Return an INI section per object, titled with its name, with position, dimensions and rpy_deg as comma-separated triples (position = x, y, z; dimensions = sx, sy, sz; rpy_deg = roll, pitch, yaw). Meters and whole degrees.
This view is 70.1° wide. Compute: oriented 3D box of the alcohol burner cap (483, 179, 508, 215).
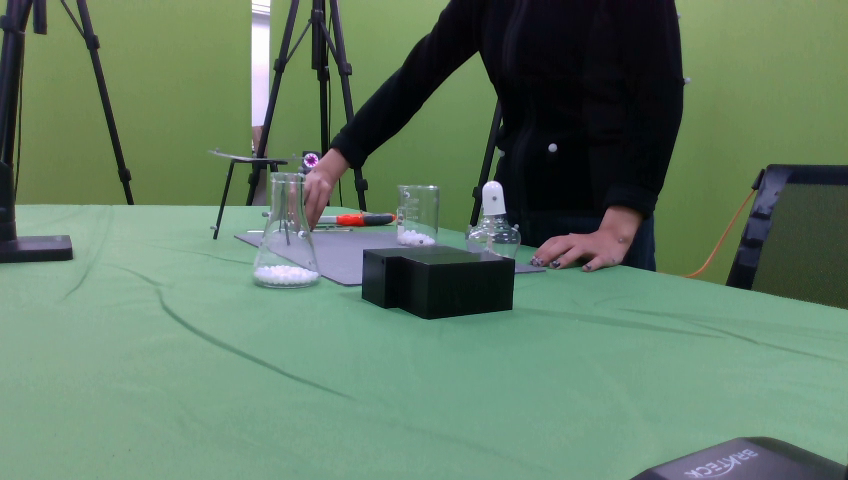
[alcohol burner cap]
position = 0.094, -0.057, 0.810
dimensions = 0.034, 0.048, 0.034
rpy_deg = -8, 6, 1

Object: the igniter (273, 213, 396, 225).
[igniter]
position = -0.178, -0.044, 1.258
dimensions = 0.278, 0.025, 0.057
rpy_deg = -3, -1, -39

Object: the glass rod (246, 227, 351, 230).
[glass rod]
position = -0.234, -0.023, 1.147
dimensions = 0.201, 0.008, 0.008
rpy_deg = -1, 7, -25

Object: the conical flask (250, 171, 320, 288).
[conical flask]
position = -0.150, -0.013, 0.658
dimensions = 0.075, 0.122, 0.075
rpy_deg = 2, 7, 0

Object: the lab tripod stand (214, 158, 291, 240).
[lab tripod stand]
position = -0.268, -0.068, 1.002
dimensions = 0.148, 0.131, 0.148
rpy_deg = 3, 6, 0

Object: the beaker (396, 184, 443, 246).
[beaker]
position = -0.011, -0.043, 1.004
dimensions = 0.083, 0.100, 0.074
rpy_deg = 8, 9, 39

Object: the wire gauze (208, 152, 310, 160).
[wire gauze]
position = -0.270, -0.135, 0.993
dimensions = 0.124, 0.011, 0.122
rpy_deg = 8, 8, 41

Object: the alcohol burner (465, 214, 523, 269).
[alcohol burner]
position = 0.094, -0.022, 0.815
dimensions = 0.078, 0.119, 0.078
rpy_deg = 0, 7, 0
